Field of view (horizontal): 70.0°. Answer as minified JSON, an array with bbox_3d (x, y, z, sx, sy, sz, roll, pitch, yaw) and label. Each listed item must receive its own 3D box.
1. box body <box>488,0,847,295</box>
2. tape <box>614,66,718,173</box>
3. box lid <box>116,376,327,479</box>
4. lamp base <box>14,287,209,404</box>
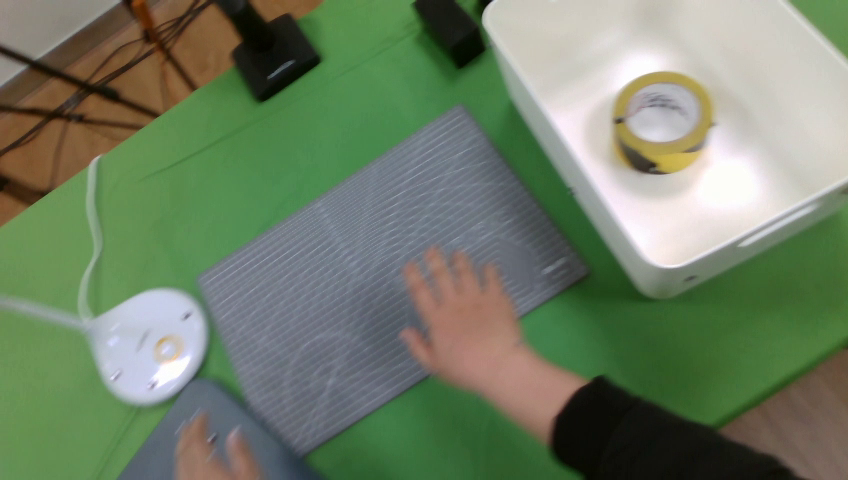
[{"bbox_3d":[0.266,-0.149,0.664,0.254,0.162,0.360,-29,65,5],"label":"box body"},{"bbox_3d":[0.280,-0.142,0.712,0.116,0.053,0.116,-5,70,14],"label":"tape"},{"bbox_3d":[-0.227,0.360,0.714,0.368,0.015,0.263,33,83,24],"label":"box lid"},{"bbox_3d":[-0.398,0.115,0.758,0.178,0.182,0.159,4,72,21],"label":"lamp base"}]
